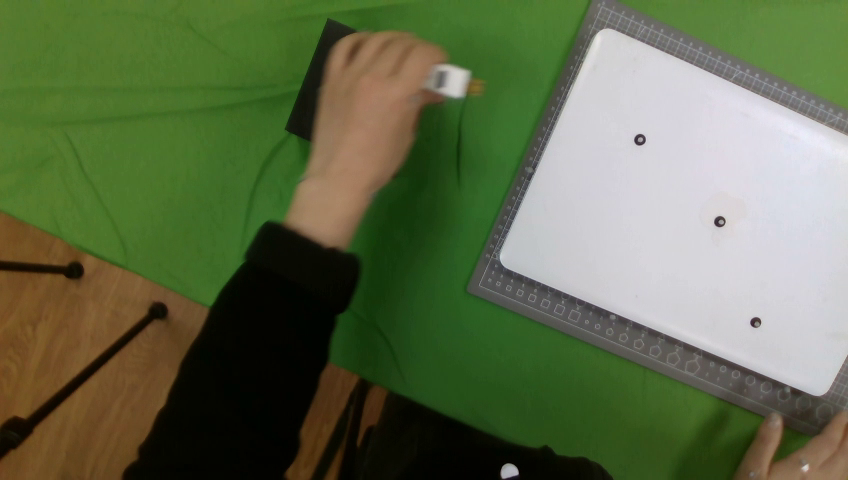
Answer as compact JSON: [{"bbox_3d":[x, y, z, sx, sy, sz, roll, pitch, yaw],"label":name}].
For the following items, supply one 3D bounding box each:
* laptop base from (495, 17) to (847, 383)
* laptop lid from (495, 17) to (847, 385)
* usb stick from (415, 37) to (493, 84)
[{"bbox_3d":[0.269,-0.029,0.574,0.355,0.023,0.236,22,100,-5],"label":"laptop base"},{"bbox_3d":[0.269,-0.026,0.563,0.357,0.013,0.242,24,99,-5],"label":"laptop lid"},{"bbox_3d":[0.024,-0.134,0.460,0.059,0.027,0.021,16,113,-7],"label":"usb stick"}]
